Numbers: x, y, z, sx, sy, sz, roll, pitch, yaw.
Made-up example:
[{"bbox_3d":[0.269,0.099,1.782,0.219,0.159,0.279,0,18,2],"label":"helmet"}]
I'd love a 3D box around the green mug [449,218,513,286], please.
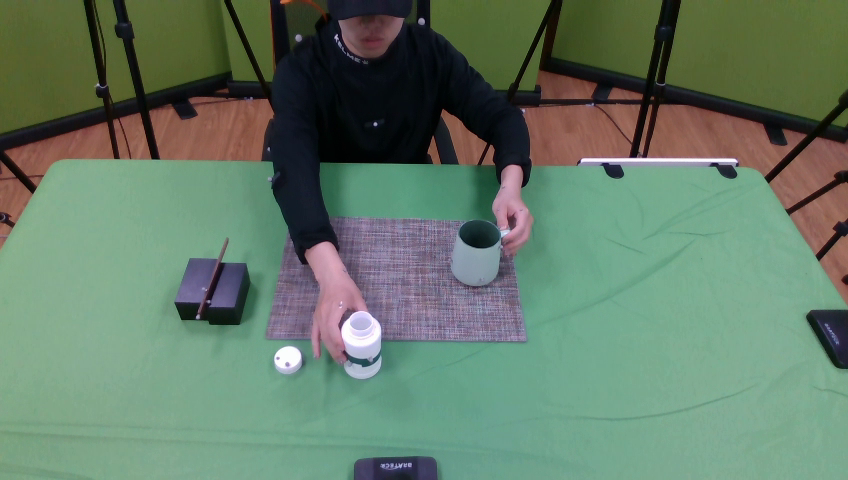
[{"bbox_3d":[0.110,0.018,1.126,0.125,0.105,0.092,-19,50,-21],"label":"green mug"}]

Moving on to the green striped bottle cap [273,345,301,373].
[{"bbox_3d":[-0.225,0.195,0.997,0.044,0.020,0.044,2,50,-2],"label":"green striped bottle cap"}]

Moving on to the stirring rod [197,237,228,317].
[{"bbox_3d":[-0.363,0.060,1.047,0.006,0.014,0.175,7,46,-3],"label":"stirring rod"}]

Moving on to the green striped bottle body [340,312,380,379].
[{"bbox_3d":[-0.101,0.165,0.964,0.063,0.120,0.063,2,47,-2],"label":"green striped bottle body"}]
